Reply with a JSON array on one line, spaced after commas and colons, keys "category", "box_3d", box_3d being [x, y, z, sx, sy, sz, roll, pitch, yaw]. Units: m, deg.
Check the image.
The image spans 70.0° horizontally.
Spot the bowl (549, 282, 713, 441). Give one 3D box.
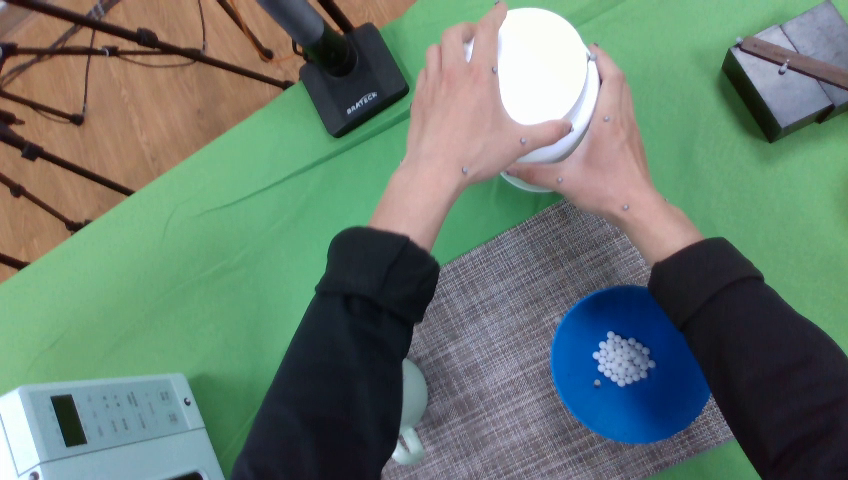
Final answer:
[{"category": "bowl", "box_3d": [0.206, 0.120, 0.613, 0.151, 0.077, 0.151, -3, 82, 17]}]

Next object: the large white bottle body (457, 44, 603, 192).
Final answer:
[{"category": "large white bottle body", "box_3d": [0.107, -0.129, 0.601, 0.130, 0.186, 0.130, -3, 81, 18]}]

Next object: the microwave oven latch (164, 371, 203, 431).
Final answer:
[{"category": "microwave oven latch", "box_3d": [-0.312, 0.205, 0.768, 0.030, 0.029, 0.078, -31, 76, 10]}]

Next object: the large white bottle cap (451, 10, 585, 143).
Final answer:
[{"category": "large white bottle cap", "box_3d": [0.080, -0.141, 0.521, 0.114, 0.018, 0.114, -3, 82, 18]}]

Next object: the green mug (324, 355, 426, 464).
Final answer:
[{"category": "green mug", "box_3d": [-0.043, 0.188, 0.667, 0.092, 0.105, 0.124, -38, 74, 8]}]

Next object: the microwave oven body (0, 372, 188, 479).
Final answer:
[{"category": "microwave oven body", "box_3d": [-0.386, 0.417, 0.661, 0.326, 0.261, 0.439, -31, 75, 10]}]

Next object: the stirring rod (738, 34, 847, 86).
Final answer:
[{"category": "stirring rod", "box_3d": [0.389, -0.161, 0.580, 0.175, 0.006, 0.014, 29, 126, 18]}]

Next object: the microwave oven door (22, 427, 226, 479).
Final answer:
[{"category": "microwave oven door", "box_3d": [-0.246, 0.378, 0.617, 0.039, 0.245, 0.353, -31, 74, 11]}]
